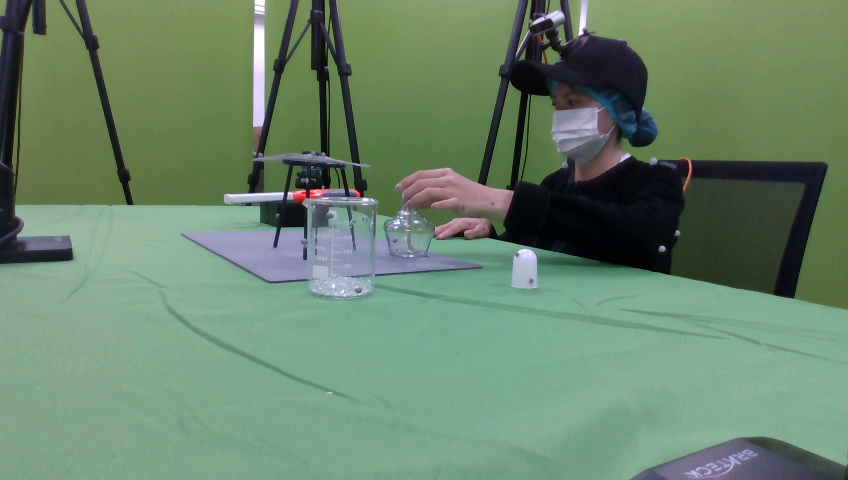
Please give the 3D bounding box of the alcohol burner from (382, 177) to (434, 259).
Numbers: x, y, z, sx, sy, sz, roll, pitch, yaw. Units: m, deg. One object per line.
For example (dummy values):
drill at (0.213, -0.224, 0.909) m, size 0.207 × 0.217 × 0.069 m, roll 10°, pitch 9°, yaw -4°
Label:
alcohol burner at (-0.023, -0.033, 0.890) m, size 0.078 × 0.119 × 0.078 m, roll 1°, pitch 6°, yaw 0°

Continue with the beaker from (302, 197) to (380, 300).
beaker at (-0.089, 0.007, 0.625) m, size 0.084 × 0.100 × 0.074 m, roll 4°, pitch 7°, yaw 16°

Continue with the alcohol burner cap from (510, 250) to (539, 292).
alcohol burner cap at (0.118, 0.036, 0.704) m, size 0.034 × 0.048 × 0.034 m, roll 0°, pitch 7°, yaw 0°

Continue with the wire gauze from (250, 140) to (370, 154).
wire gauze at (-0.163, -0.131, 0.867) m, size 0.124 × 0.011 × 0.122 m, roll -1°, pitch 8°, yaw 32°

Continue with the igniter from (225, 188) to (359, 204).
igniter at (-0.264, -0.089, 1.239) m, size 0.278 × 0.025 × 0.057 m, roll -5°, pitch 12°, yaw -32°

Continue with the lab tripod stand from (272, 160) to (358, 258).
lab tripod stand at (-0.159, -0.048, 0.876) m, size 0.148 × 0.131 × 0.148 m, roll 3°, pitch 5°, yaw 0°
